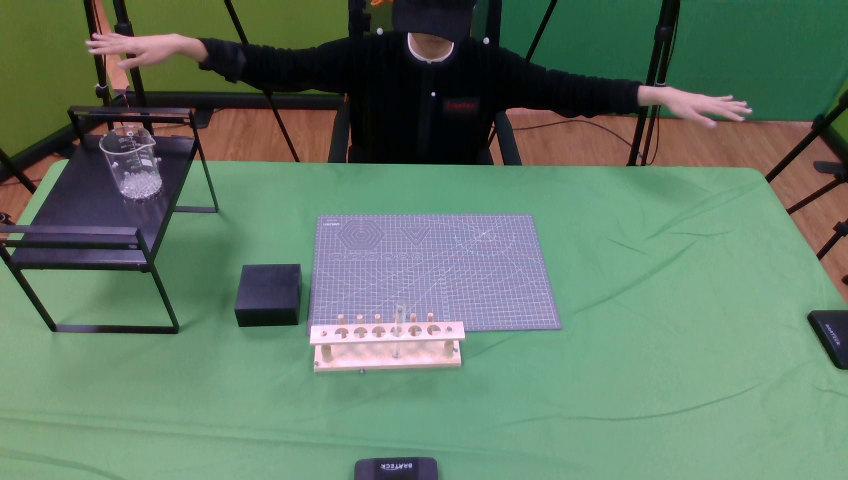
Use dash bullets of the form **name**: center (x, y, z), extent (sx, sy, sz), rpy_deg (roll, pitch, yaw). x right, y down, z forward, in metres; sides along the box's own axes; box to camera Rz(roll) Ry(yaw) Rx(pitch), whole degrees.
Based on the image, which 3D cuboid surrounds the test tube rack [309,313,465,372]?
- **test tube rack**: center (-0.059, 0.161, 0.990), extent (0.242, 0.085, 0.066), rpy_deg (-1, 46, -5)

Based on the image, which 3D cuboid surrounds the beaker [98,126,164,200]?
- **beaker**: center (-0.464, -0.122, 0.977), extent (0.084, 0.101, 0.073), rpy_deg (0, 46, -5)

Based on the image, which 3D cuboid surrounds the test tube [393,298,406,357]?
- **test tube**: center (-0.039, 0.139, 0.943), extent (0.017, 0.151, 0.017), rpy_deg (3, 48, -3)
